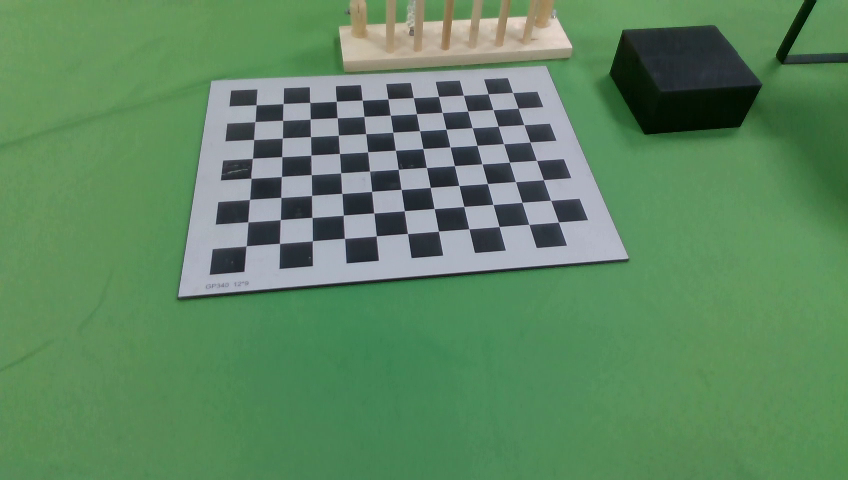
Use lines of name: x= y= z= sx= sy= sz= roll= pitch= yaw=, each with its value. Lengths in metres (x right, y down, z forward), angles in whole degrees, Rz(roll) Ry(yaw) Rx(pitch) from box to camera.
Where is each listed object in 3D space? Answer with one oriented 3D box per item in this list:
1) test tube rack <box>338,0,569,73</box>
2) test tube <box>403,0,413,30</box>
test tube rack: x=0.032 y=-0.235 z=0.626 sx=0.243 sy=0.086 sz=0.066 roll=-6 pitch=51 yaw=-8
test tube: x=-0.008 y=-0.278 z=0.595 sx=0.017 sy=0.151 sz=0.017 roll=4 pitch=46 yaw=-4
